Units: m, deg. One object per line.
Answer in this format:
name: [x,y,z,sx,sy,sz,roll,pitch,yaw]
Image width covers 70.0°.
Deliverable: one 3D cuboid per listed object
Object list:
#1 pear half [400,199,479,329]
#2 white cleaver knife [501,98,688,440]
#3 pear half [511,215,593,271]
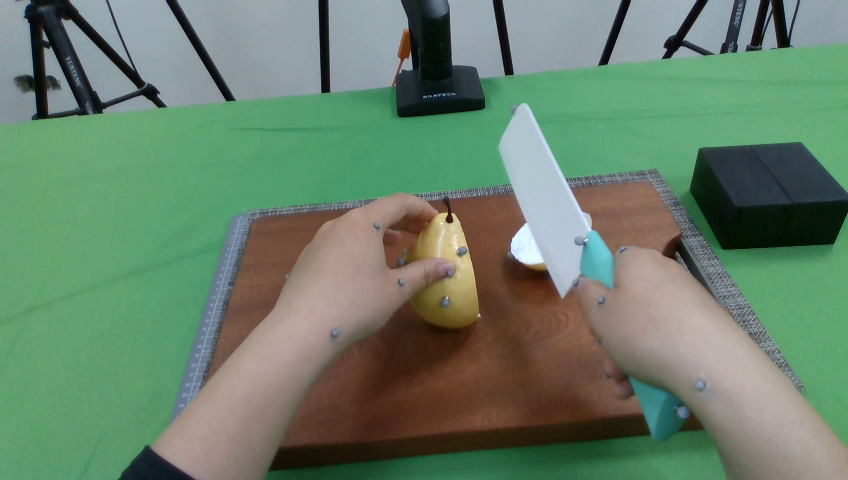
pear half: [0.009,0.017,0.454,0.056,0.111,0.075,-15,36,-9]
white cleaver knife: [0.105,0.004,0.425,0.021,0.066,0.283,-1,48,-16]
pear half: [0.111,0.003,0.518,0.070,0.031,0.087,-11,25,17]
